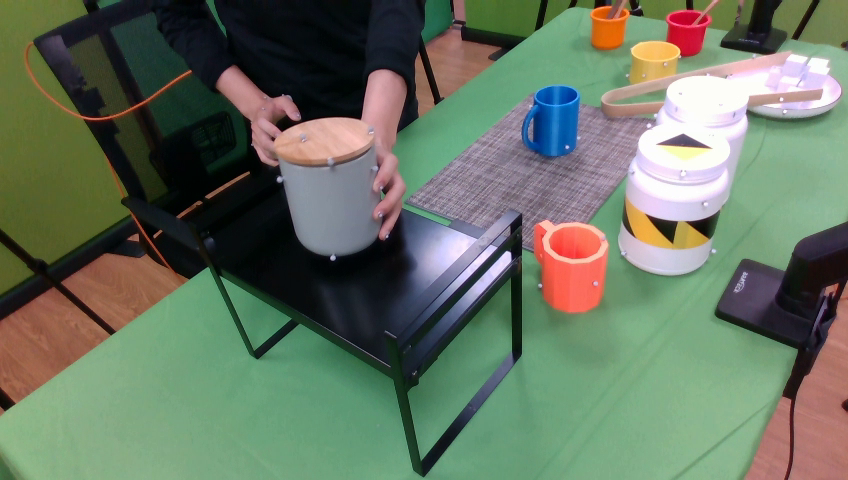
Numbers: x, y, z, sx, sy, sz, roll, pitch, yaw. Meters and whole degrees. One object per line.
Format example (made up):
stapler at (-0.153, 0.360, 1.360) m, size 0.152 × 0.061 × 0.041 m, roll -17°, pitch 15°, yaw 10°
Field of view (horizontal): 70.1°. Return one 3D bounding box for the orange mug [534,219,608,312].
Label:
orange mug at (0.200, 0.027, 0.858) m, size 0.084 × 0.101 × 0.125 m, roll -24°, pitch 47°, yaw -18°

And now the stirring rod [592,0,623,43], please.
stirring rod at (0.460, -0.557, 1.461) m, size 0.014 × 0.176 × 0.006 m, roll 35°, pitch 11°, yaw 22°

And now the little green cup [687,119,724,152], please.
little green cup at (0.514, -0.191, 1.109) m, size 0.061 × 0.039 × 0.061 m, roll -5°, pitch 40°, yaw 5°

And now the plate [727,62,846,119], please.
plate at (0.710, -0.292, 1.198) m, size 0.207 × 0.039 × 0.206 m, roll -4°, pitch 40°, yaw 4°

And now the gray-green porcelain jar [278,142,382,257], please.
gray-green porcelain jar at (-0.103, -0.053, 0.694) m, size 0.106 × 0.127 × 0.105 m, roll -2°, pitch 36°, yaw 2°

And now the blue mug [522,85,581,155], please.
blue mug at (0.233, -0.218, 1.127) m, size 0.117 × 0.106 × 0.081 m, roll -23°, pitch 43°, yaw -16°

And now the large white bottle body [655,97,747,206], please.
large white bottle body at (0.431, -0.148, 0.959) m, size 0.130 × 0.185 × 0.130 m, roll -4°, pitch 41°, yaw 4°

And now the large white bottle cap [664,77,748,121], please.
large white bottle cap at (0.421, -0.212, 0.905) m, size 0.115 × 0.018 × 0.114 m, roll -4°, pitch 40°, yaw 4°

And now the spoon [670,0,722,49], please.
spoon at (0.639, -0.510, 1.380) m, size 0.193 × 0.022 × 0.041 m, roll -49°, pitch 40°, yaw 19°

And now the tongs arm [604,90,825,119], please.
tongs arm at (0.546, -0.262, 1.163) m, size 0.386 × 0.028 × 0.028 m, roll -1°, pitch 49°, yaw 18°

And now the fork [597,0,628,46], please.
fork at (0.479, -0.558, 1.455) m, size 0.028 × 0.019 × 0.207 m, roll 35°, pitch 100°, yaw 38°

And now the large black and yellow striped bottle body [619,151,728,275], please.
large black and yellow striped bottle body at (0.354, -0.056, 0.865) m, size 0.131 × 0.185 × 0.130 m, roll -4°, pitch 41°, yaw 4°

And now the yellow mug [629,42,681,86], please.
yellow mug at (0.495, -0.389, 1.321) m, size 0.100 × 0.064 × 0.130 m, roll -14°, pitch 40°, yaw -6°

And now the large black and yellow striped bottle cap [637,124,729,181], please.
large black and yellow striped bottle cap at (0.346, -0.119, 0.810) m, size 0.115 × 0.019 × 0.114 m, roll -5°, pitch 41°, yaw 5°

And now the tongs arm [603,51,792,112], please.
tongs arm at (0.552, -0.320, 1.224) m, size 0.384 × 0.027 × 0.050 m, roll -11°, pitch 44°, yaw 7°

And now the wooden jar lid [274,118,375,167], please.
wooden jar lid at (-0.106, -0.103, 0.656) m, size 0.108 × 0.021 × 0.108 m, roll -2°, pitch 34°, yaw 2°
